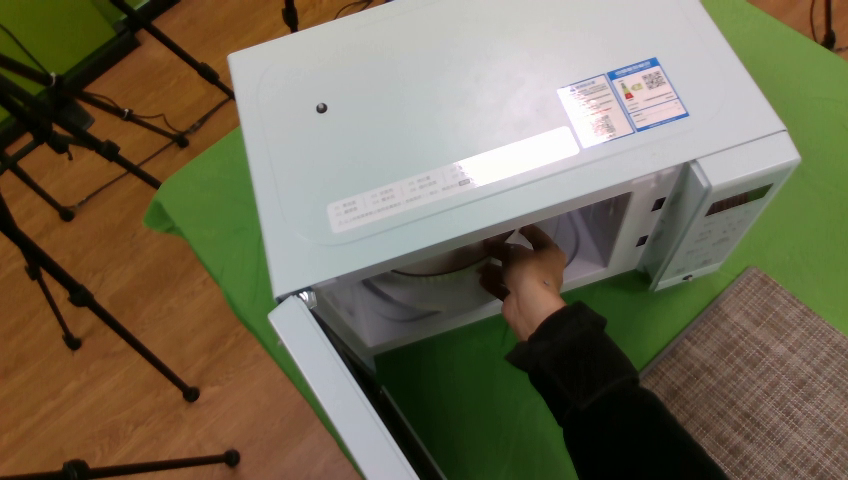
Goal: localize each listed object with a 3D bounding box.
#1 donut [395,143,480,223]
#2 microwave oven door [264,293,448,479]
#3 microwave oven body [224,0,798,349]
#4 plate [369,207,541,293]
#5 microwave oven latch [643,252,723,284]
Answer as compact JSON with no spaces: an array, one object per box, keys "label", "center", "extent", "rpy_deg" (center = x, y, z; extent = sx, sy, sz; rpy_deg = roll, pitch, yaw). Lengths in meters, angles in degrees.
[{"label":"donut","center":[0.016,-0.064,0.688],"extent":[0.099,0.048,0.098],"rpy_deg":[5,67,-11]},{"label":"microwave oven door","center":[0.001,0.219,0.517],"extent":[0.039,0.246,0.352],"rpy_deg":[-36,66,-8]},{"label":"microwave oven body","center":[0.065,-0.088,0.652],"extent":[0.442,0.262,0.323],"rpy_deg":[-19,65,1]},{"label":"plate","center":[0.026,-0.027,0.671],"extent":[0.209,0.038,0.207],"rpy_deg":[-7,55,10]},{"label":"microwave oven latch","center":[0.289,0.023,0.677],"extent":[0.079,0.030,0.030],"rpy_deg":[-18,65,1]}]
